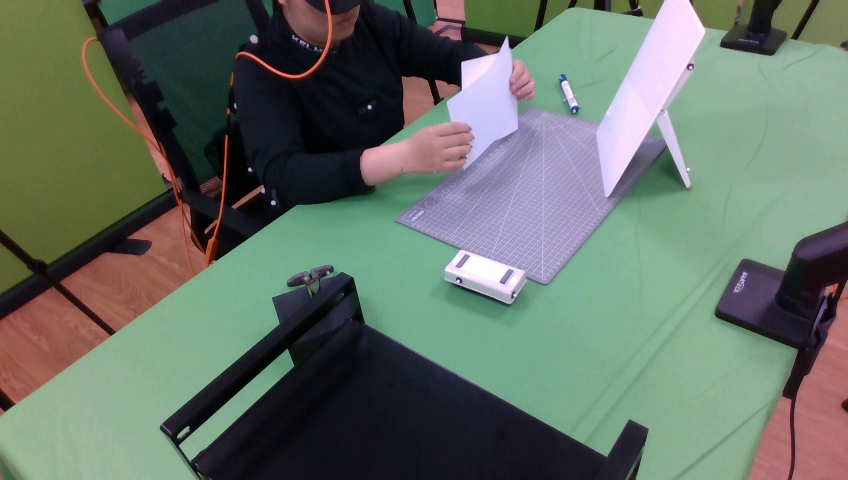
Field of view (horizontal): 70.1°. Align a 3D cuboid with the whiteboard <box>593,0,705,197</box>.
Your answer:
[{"bbox_3d":[0.421,-0.227,1.009,0.144,0.305,0.216,17,41,-3],"label":"whiteboard"}]

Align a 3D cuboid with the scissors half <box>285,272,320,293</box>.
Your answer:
[{"bbox_3d":[-0.171,0.064,0.868,0.040,0.013,0.174,-12,8,-21],"label":"scissors half"}]

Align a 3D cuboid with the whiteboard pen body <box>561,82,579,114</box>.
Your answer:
[{"bbox_3d":[0.311,-0.312,1.297,0.017,0.017,0.140,-6,42,3],"label":"whiteboard pen body"}]

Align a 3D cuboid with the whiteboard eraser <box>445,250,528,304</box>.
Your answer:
[{"bbox_3d":[0.090,0.056,0.882,0.112,0.042,0.056,17,44,27],"label":"whiteboard eraser"}]

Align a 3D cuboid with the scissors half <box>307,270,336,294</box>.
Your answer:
[{"bbox_3d":[-0.151,0.061,0.872,0.040,0.013,0.175,-5,6,-4],"label":"scissors half"}]

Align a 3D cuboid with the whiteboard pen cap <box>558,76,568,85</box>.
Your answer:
[{"bbox_3d":[0.310,-0.350,1.340,0.018,0.018,0.033,-6,41,2],"label":"whiteboard pen cap"}]
